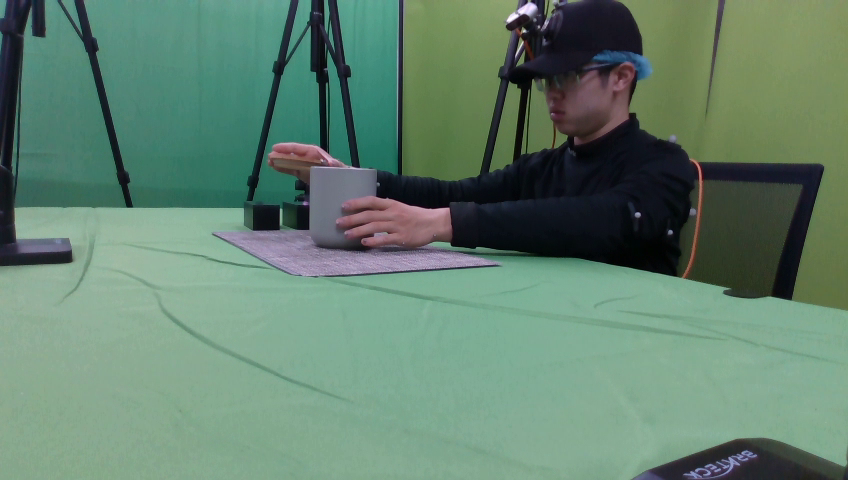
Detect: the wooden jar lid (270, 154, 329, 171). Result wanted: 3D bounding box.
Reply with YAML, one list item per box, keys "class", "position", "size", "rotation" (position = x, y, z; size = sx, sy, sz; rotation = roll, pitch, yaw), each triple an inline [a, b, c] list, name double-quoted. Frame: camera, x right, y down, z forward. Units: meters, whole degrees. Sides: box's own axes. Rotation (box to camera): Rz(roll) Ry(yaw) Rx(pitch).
- class: "wooden jar lid"
  position: [-0.233, -0.143, 1.129]
  size: [0.108, 0.020, 0.108]
  rotation: [8, 2, 0]

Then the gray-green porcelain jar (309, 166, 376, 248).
- class: "gray-green porcelain jar"
  position: [-0.130, -0.054, 0.966]
  size: [0.106, 0.126, 0.106]
  rotation: [2, 8, 0]
